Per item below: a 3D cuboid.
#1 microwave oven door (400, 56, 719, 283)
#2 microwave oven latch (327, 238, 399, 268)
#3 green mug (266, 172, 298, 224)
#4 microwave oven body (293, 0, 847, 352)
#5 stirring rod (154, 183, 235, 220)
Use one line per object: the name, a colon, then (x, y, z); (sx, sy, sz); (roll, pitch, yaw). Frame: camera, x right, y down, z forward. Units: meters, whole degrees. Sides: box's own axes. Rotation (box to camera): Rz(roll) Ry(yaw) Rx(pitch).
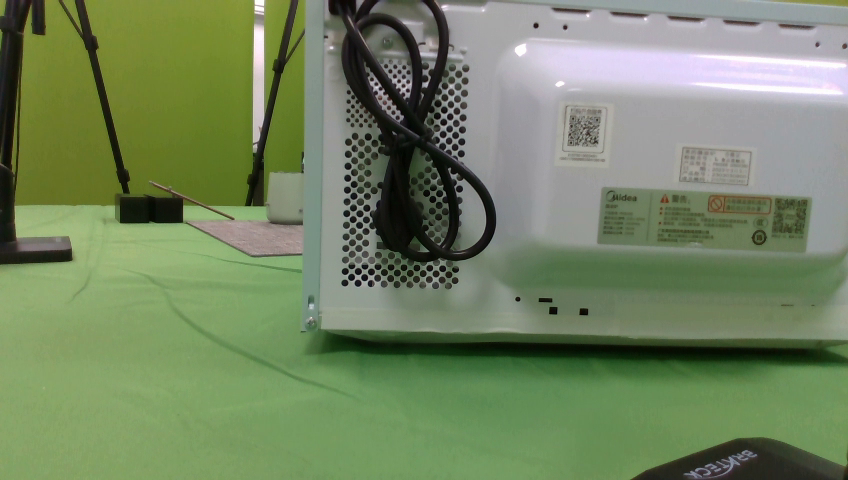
microwave oven door: (0.155, -0.077, 0.698); (0.356, 0.243, 0.039); (2, 8, -5)
microwave oven latch: (-0.069, 0.015, 0.694); (0.079, 0.029, 0.030); (3, 7, -3)
green mug: (-0.272, -0.089, 1.271); (0.092, 0.105, 0.126); (7, 8, 33)
microwave oven body: (0.122, -0.055, 0.550); (0.442, 0.260, 0.325); (3, 7, -5)
stirring rod: (-0.472, -0.079, 1.252); (0.177, 0.006, 0.014); (27, 4, -35)
